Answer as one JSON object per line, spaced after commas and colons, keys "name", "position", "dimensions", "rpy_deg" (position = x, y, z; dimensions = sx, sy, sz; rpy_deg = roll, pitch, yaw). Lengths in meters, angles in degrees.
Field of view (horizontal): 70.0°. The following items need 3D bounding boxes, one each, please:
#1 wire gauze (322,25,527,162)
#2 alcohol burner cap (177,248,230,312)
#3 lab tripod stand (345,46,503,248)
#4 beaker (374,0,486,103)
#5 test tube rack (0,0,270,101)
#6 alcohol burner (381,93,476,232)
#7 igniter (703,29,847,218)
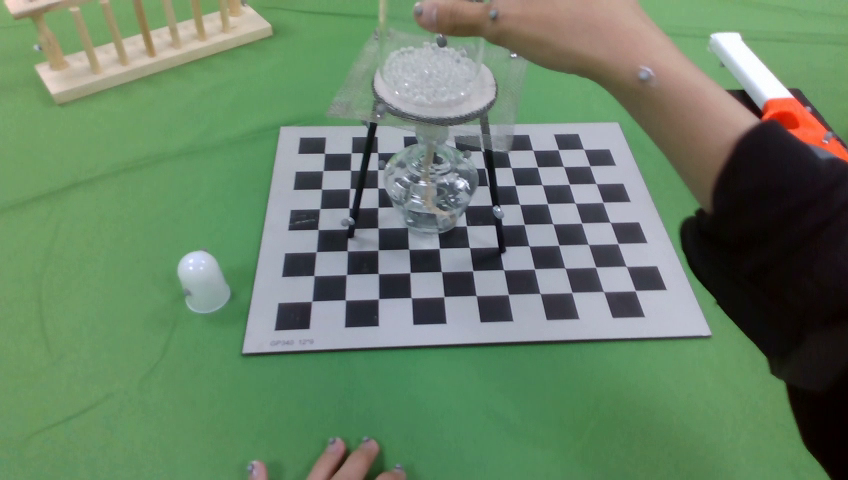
{"name": "wire gauze", "position": [0.006, -0.111, 0.423], "dimensions": [0.125, 0.011, 0.120], "rpy_deg": [15, 51, 5]}
{"name": "alcohol burner cap", "position": [-0.165, 0.027, 0.446], "dimensions": [0.034, 0.048, 0.033], "rpy_deg": [2, 48, -2]}
{"name": "lab tripod stand", "position": [0.007, -0.069, 0.473], "dimensions": [0.148, 0.132, 0.147], "rpy_deg": [3, 47, -3]}
{"name": "beaker", "position": [0.003, -0.144, 0.385], "dimensions": [0.074, 0.101, 0.083], "rpy_deg": [5, 48, 1]}
{"name": "test tube rack", "position": [-0.295, -0.239, 0.648], "dimensions": [0.242, 0.086, 0.066], "rpy_deg": [-29, 56, -25]}
{"name": "alcohol burner", "position": [0.004, -0.063, 0.481], "dimensions": [0.078, 0.120, 0.077], "rpy_deg": [0, 49, 0]}
{"name": "igniter", "position": [0.319, -0.117, 0.545], "dimensions": [0.057, 0.025, 0.273], "rpy_deg": [-4, 46, -2]}
